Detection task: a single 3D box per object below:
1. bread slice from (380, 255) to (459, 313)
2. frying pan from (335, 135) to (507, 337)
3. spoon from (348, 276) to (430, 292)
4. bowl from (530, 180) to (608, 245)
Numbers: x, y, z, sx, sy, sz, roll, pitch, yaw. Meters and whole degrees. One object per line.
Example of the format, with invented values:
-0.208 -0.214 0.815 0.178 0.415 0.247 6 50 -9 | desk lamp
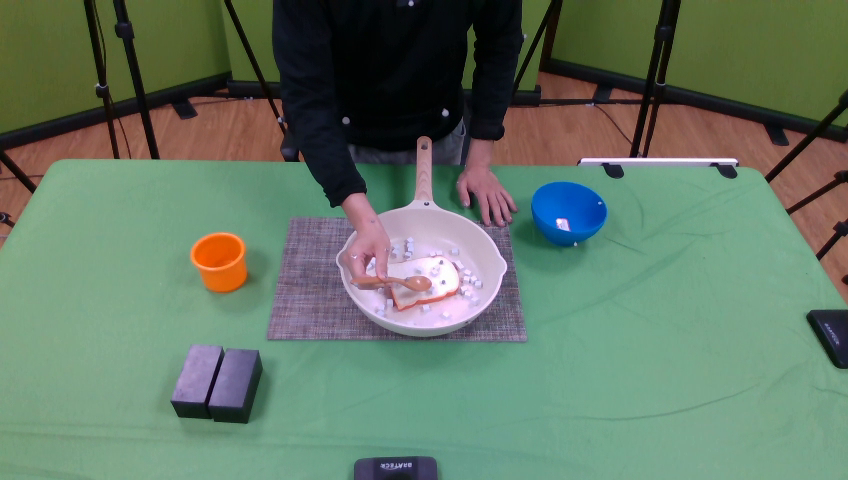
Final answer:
-0.005 0.075 1.119 0.134 0.018 0.106 -16 50 -16 | bread slice
-0.003 -0.026 1.160 0.307 0.103 0.485 4 55 -2 | frying pan
-0.056 0.069 1.008 0.041 0.021 0.194 45 19 32 | spoon
0.284 -0.044 1.222 0.151 0.077 0.150 2 46 -2 | bowl
